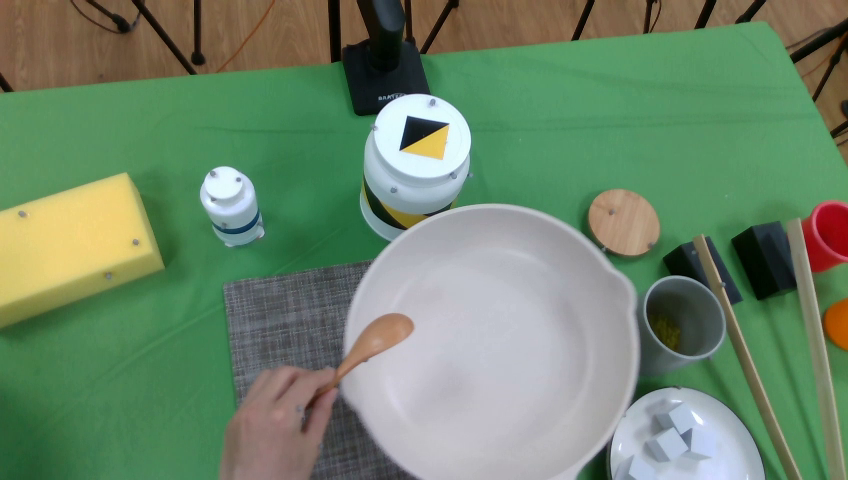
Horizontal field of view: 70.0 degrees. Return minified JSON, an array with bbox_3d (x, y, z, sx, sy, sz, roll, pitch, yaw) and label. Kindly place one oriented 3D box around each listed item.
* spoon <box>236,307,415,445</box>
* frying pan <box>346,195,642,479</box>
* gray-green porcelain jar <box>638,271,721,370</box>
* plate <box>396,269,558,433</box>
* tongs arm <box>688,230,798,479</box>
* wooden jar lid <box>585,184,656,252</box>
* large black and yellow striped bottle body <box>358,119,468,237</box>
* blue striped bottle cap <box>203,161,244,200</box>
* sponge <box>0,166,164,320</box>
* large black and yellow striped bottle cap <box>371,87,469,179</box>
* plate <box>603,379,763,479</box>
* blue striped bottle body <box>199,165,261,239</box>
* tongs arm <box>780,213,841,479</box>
[{"bbox_3d":[-0.089,0.124,0.554,0.193,0.022,0.041,-40,48,-8],"label":"spoon"},{"bbox_3d":[0.100,0.186,0.587,0.307,0.103,0.483,-18,63,1],"label":"frying pan"},{"bbox_3d":[0.299,0.110,0.784,0.106,0.127,0.105,3,67,-8],"label":"gray-green porcelain jar"},{"bbox_3d":[0.066,0.140,0.776,0.209,0.038,0.207,3,68,-8],"label":"plate"},{"bbox_3d":[0.440,0.165,0.804,0.051,0.026,0.383,-14,81,-16],"label":"tongs arm"},{"bbox_3d":[0.289,-0.031,0.896,0.108,0.021,0.107,3,69,-8],"label":"wooden jar lid"},{"bbox_3d":[-0.017,-0.092,0.780,0.131,0.185,0.130,3,67,-8],"label":"large black and yellow striped bottle body"},{"bbox_3d":[-0.235,-0.071,0.712,0.044,0.021,0.044,3,66,-6],"label":"blue striped bottle cap"},{"bbox_3d":[-0.443,0.003,0.736,0.207,0.061,0.117,-22,74,-18],"label":"sponge"},{"bbox_3d":[-0.004,-0.126,0.703,0.115,0.019,0.114,3,69,-9],"label":"large black and yellow striped bottle cap"},{"bbox_3d":[0.322,0.283,0.768,0.208,0.039,0.206,4,67,-8],"label":"plate"},{"bbox_3d":[-0.243,-0.052,0.759,0.063,0.121,0.062,3,68,-8],"label":"blue striped bottle body"},{"bbox_3d":[0.522,0.152,0.824,0.028,0.028,0.385,1,78,-17],"label":"tongs arm"}]
